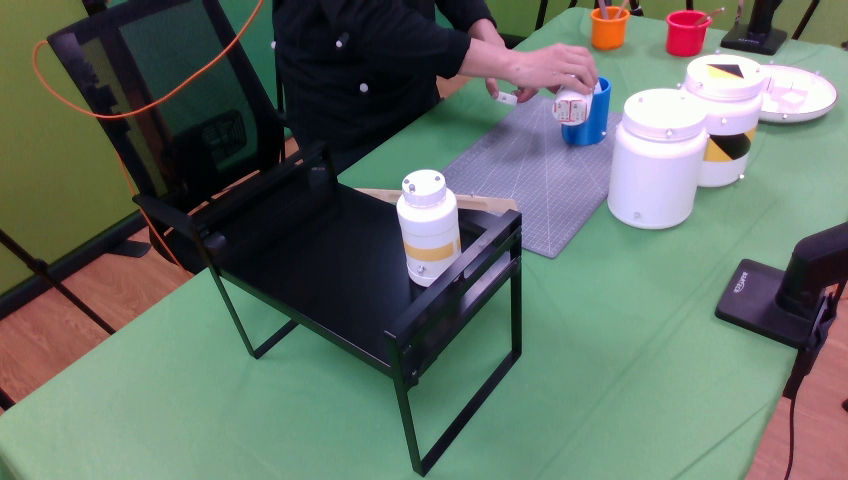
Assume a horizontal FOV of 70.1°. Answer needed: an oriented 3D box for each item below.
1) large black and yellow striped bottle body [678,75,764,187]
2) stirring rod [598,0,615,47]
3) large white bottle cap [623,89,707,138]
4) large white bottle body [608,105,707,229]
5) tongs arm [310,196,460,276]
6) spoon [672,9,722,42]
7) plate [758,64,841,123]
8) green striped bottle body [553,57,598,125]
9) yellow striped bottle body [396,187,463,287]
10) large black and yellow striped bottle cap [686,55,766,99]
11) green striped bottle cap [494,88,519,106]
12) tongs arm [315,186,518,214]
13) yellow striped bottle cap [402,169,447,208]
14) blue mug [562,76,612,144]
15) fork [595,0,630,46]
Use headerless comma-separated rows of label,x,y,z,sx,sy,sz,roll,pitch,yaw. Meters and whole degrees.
large black and yellow striped bottle body,0.482,-0.196,1.008,0.131,0.185,0.130,-4,41,4
stirring rod,0.437,-0.551,1.462,0.014,0.006,0.175,-11,83,1
large white bottle cap,0.352,-0.187,0.886,0.115,0.018,0.114,-4,41,4
large white bottle body,0.361,-0.124,0.941,0.130,0.185,0.130,-5,41,4
tongs arm,-0.078,-0.012,0.944,0.028,0.028,0.384,-43,39,-22
spoon,0.606,-0.476,1.345,0.042,0.021,0.193,-6,-3,-2
plate,0.694,-0.283,1.189,0.207,0.039,0.206,-4,40,4
green striped bottle body,0.264,-0.262,1.046,0.063,0.063,0.119,8,59,18
yellow striped bottle body,0.006,-0.013,0.638,0.063,0.121,0.062,-5,41,4
large black and yellow striped bottle cap,0.474,-0.258,0.952,0.115,0.019,0.114,-5,41,5
green striped bottle cap,0.157,-0.272,1.148,0.044,0.020,0.044,19,19,-7
tongs arm,-0.028,-0.060,0.988,0.382,0.027,0.051,9,45,36
yellow striped bottle cap,0.000,-0.052,0.605,0.044,0.019,0.044,-5,43,5
blue mug,0.298,-0.240,1.143,0.081,0.106,0.117,30,53,36
fork,0.480,-0.556,1.453,0.028,0.019,0.207,41,103,40
